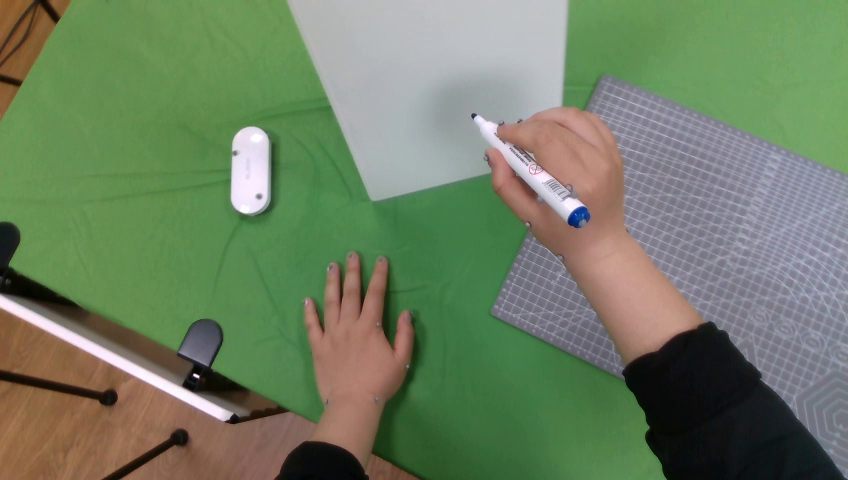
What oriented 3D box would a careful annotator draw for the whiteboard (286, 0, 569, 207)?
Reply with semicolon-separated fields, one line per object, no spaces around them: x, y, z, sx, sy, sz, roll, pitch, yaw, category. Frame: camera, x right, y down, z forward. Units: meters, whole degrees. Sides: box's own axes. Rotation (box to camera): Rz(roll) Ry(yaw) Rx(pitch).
0.009;-0.197;0.577;0.217;0.308;0.142;-13;59;2;whiteboard

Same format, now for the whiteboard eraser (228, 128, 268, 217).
-0.197;-0.077;0.679;0.041;0.019;0.101;-2;80;2;whiteboard eraser

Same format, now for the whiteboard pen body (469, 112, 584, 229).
0.066;-0.055;0.427;0.017;0.017;0.139;-33;51;-2;whiteboard pen body
